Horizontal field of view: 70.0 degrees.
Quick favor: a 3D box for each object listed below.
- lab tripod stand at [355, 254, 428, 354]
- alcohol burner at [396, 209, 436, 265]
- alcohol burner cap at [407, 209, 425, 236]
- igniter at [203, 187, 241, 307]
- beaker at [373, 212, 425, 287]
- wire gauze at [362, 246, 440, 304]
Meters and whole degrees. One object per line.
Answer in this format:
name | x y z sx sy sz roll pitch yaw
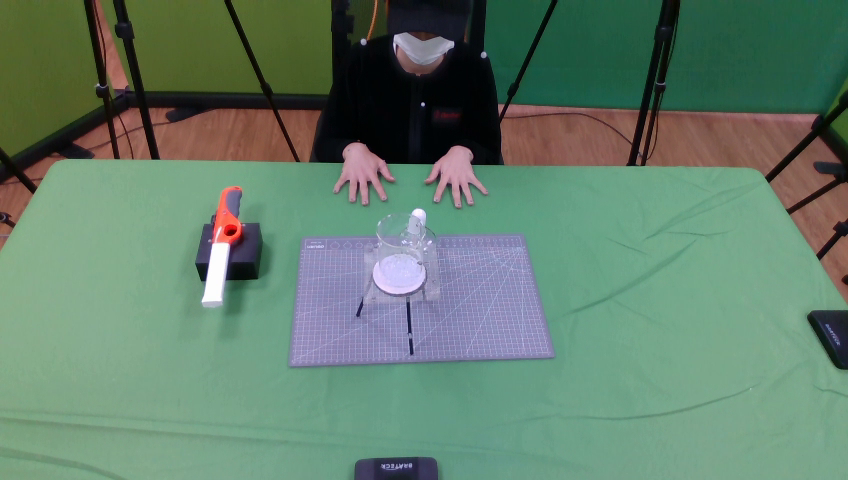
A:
lab tripod stand | -0.046 0.100 1.017 0.148 0.132 0.147 1 47 -1
alcohol burner | -0.015 -0.011 1.141 0.078 0.120 0.077 2 44 -1
alcohol burner cap | -0.013 -0.036 1.115 0.034 0.048 0.033 4 42 -4
igniter | -0.365 0.003 1.098 0.057 0.025 0.274 -1 49 -7
beaker | -0.036 0.019 0.936 0.074 0.101 0.083 -29 54 -26
wire gauze | -0.038 0.052 0.972 0.121 0.011 0.124 0 44 -5
